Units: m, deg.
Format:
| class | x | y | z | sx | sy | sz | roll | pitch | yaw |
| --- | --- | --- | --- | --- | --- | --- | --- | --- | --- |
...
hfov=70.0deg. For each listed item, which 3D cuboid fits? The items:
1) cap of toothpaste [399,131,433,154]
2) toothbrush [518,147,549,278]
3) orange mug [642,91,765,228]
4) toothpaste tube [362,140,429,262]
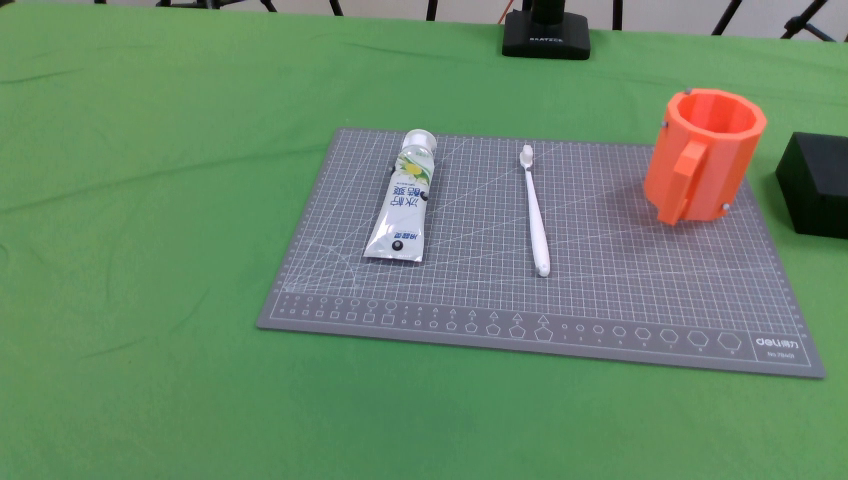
| class | x | y | z | sx | sy | sz | roll | pitch | yaw |
| --- | --- | --- | --- | --- | --- | --- | --- | --- | --- |
| cap of toothpaste | -0.009 | -0.101 | 0.649 | 0.037 | 0.038 | 0.011 | 7 | 51 | 8 |
| toothbrush | 0.107 | -0.033 | 0.594 | 0.014 | 0.017 | 0.180 | 10 | 45 | -8 |
| orange mug | 0.255 | -0.070 | 0.574 | 0.083 | 0.101 | 0.126 | 25 | 45 | 25 |
| toothpaste tube | -0.021 | -0.044 | 0.599 | 0.055 | 0.035 | 0.163 | 1 | 48 | 9 |
